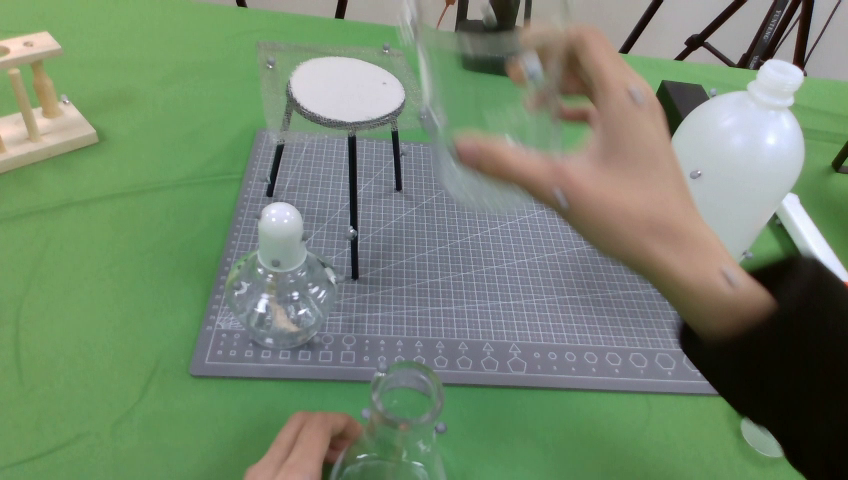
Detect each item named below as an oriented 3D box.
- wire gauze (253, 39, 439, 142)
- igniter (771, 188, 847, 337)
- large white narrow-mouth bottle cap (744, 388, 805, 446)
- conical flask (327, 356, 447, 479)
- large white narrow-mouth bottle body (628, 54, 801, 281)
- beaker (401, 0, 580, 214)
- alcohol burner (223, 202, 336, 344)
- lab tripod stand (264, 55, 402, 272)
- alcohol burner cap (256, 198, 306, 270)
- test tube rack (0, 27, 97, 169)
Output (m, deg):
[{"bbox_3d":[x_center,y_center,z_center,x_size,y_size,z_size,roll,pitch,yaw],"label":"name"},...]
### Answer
[{"bbox_3d":[-0.062,-0.118,0.455,0.122,0.011,0.123,-6,49,-17],"label":"wire gauze"},{"bbox_3d":[0.380,0.046,0.553,0.057,0.025,0.273,13,43,-14],"label":"igniter"},{"bbox_3d":[0.259,0.131,0.449,0.038,0.024,0.037,5,45,-5],"label":"large white narrow-mouth bottle cap"},{"bbox_3d":[-0.016,0.114,0.341,0.075,0.123,0.074,5,45,-5],"label":"conical flask"},{"bbox_3d":[0.251,-0.061,0.511,0.102,0.196,0.101,5,45,-4],"label":"large white narrow-mouth bottle body"},{"bbox_3d":[0.034,-0.069,0.311,0.084,0.101,0.073,-17,47,-7],"label":"beaker"},{"bbox_3d":[-0.100,0.018,0.422,0.078,0.120,0.077,7,43,-6],"label":"alcohol burner"},{"bbox_3d":[-0.067,-0.069,0.502,0.149,0.132,0.147,7,45,-7],"label":"lab tripod stand"},{"bbox_3d":[-0.095,-0.006,0.396,0.034,0.048,0.033,5,51,-5],"label":"alcohol burner cap"},{"bbox_3d":[-0.417,-0.096,0.499,0.242,0.086,0.066,-29,57,-34],"label":"test tube rack"}]
